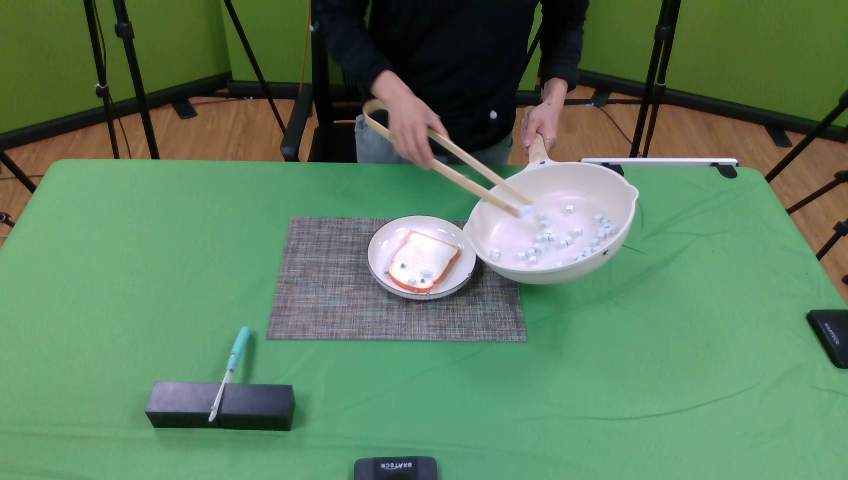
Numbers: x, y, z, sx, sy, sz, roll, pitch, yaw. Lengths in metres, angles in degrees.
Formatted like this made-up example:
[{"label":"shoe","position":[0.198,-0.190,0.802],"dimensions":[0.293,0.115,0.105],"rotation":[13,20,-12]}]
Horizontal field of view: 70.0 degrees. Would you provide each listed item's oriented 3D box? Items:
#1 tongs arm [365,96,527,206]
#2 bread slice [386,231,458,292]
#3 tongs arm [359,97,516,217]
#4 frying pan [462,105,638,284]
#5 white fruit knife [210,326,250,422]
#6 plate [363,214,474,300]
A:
[{"label":"tongs arm","position":[0.034,-0.171,1.121],"dimensions":[0.386,0.028,0.028],"rotation":[37,70,23]},{"label":"bread slice","position":[-0.007,0.043,1.142],"dimensions":[0.107,0.018,0.134],"rotation":[18,45,14]},{"label":"tongs arm","position":[0.019,-0.157,1.112],"dimensions":[0.383,0.026,0.050],"rotation":[33,65,21]},{"label":"frying pan","position":[0.224,-0.106,1.140],"dimensions":[0.306,0.103,0.484],"rotation":[-12,47,14]},{"label":"white fruit knife","position":[-0.301,0.201,0.942],"dimensions":[0.016,0.027,0.206],"rotation":[0,32,-1]},{"label":"plate","position":[-0.010,0.036,1.146],"dimensions":[0.208,0.039,0.206],"rotation":[3,46,-2]}]
